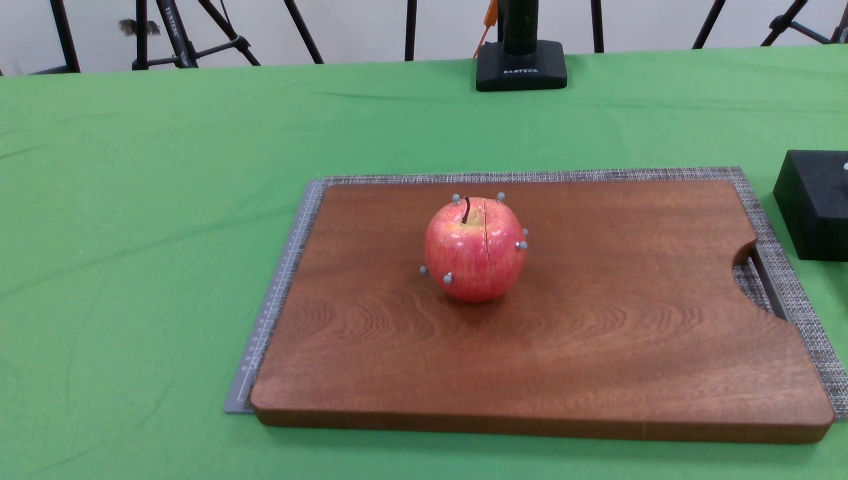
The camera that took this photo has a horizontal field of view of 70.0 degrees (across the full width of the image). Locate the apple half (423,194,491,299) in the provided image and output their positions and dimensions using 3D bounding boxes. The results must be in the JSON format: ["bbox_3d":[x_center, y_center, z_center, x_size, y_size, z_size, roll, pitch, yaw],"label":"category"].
[{"bbox_3d":[0.026,0.007,0.486,0.053,0.075,0.080,-6,45,7],"label":"apple half"}]

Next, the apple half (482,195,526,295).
[{"bbox_3d":[0.065,0.004,0.483,0.033,0.082,0.080,-6,42,7],"label":"apple half"}]
